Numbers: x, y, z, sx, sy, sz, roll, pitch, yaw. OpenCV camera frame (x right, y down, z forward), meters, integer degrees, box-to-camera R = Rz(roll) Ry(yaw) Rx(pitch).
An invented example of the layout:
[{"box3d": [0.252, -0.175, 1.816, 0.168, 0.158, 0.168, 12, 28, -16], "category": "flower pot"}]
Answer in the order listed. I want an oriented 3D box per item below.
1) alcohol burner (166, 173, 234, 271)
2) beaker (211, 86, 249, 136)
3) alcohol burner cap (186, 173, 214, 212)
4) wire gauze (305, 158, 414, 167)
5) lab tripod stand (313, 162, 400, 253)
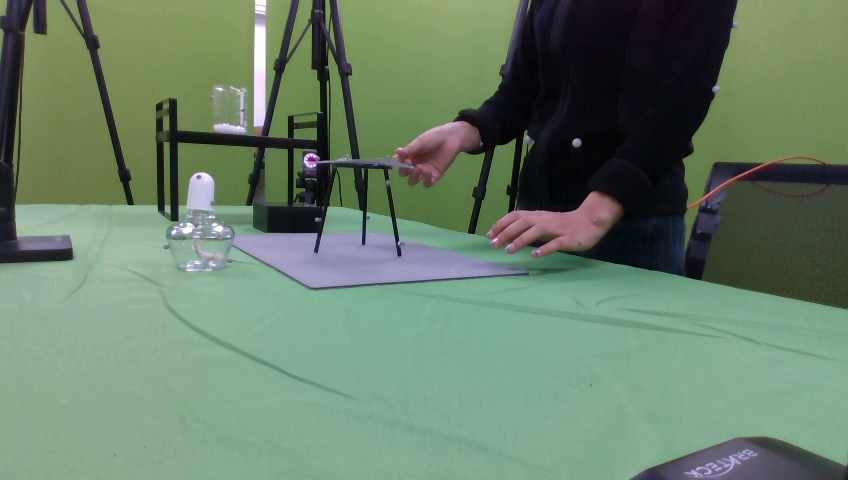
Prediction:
[{"box3d": [-0.271, -0.022, 0.735, 0.078, 0.119, 0.078, 2, 5, 0], "category": "alcohol burner"}, {"box3d": [-0.413, -0.274, 1.297, 0.074, 0.100, 0.083, -5, 11, -44], "category": "beaker"}, {"box3d": [-0.268, -0.057, 0.730, 0.034, 0.048, 0.034, 5, 1, 0], "category": "alcohol burner cap"}, {"box3d": [-0.092, -0.117, 0.894, 0.121, 0.011, 0.125, 4, 7, 19], "category": "wire gauze"}, {"box3d": [-0.097, -0.051, 0.906, 0.148, 0.131, 0.148, 1, 6, 0], "category": "lab tripod stand"}]
